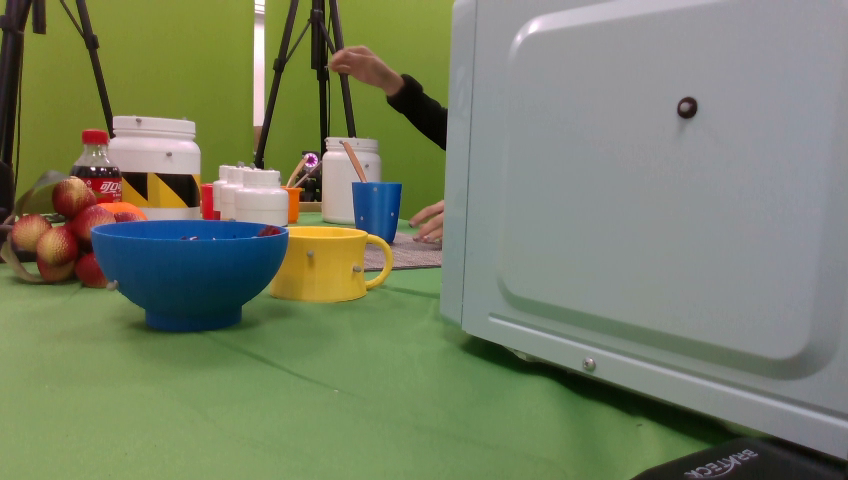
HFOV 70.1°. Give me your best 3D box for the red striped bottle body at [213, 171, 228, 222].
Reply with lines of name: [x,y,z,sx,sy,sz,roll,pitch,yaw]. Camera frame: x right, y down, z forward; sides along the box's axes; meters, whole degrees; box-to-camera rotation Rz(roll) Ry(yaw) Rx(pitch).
red striped bottle body: [-0.284,-0.048,0.909,0.063,0.119,0.063,3,12,0]

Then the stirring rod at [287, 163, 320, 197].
stirring rod: [-0.283,-0.107,1.298,0.014,0.006,0.176,10,53,50]

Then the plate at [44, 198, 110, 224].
plate: [-0.617,-0.056,1.179,0.209,0.038,0.209,3,7,0]

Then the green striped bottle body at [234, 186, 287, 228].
green striped bottle body: [-0.200,-0.023,0.743,0.063,0.119,0.063,2,7,0]

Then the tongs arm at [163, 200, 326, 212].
tongs arm: [-0.432,-0.084,1.490,0.389,0.027,0.028,-1,1,-27]

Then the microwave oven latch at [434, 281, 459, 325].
microwave oven latch: [0.044,0.045,0.470,0.079,0.029,0.030,-2,8,-39]

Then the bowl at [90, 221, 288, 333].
bowl: [-0.190,0.029,0.500,0.151,0.077,0.151,3,7,0]

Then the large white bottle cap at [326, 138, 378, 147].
large white bottle cap: [-0.158,-0.214,1.329,0.115,0.018,0.115,2,8,0]

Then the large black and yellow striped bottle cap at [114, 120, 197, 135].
large black and yellow striped bottle cap: [-0.407,-0.171,0.920,0.115,0.019,0.115,2,9,0]

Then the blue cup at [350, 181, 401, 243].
blue cup: [-0.080,-0.047,1.011,0.093,0.100,0.092,-1,7,0]

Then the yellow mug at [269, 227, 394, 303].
yellow mug: [-0.094,0.023,0.629,0.131,0.064,0.099,0,7,-22]

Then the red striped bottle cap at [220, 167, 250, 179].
red striped bottle cap: [-0.281,-0.100,0.901,0.044,0.017,0.044,-1,5,0]

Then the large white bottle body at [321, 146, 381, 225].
large white bottle body: [-0.162,-0.131,1.340,0.131,0.184,0.130,2,8,0]

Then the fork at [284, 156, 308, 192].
fork: [-0.295,-0.116,1.323,0.028,0.019,0.207,1,50,21]

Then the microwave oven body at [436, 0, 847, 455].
microwave oven body: [0.279,-0.040,0.465,0.444,0.260,0.324,-3,9,-41]

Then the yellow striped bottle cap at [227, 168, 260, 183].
yellow striped bottle cap: [-0.243,-0.087,0.818,0.044,0.018,0.044,3,6,0]

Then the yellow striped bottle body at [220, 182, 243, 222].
yellow striped bottle body: [-0.245,-0.036,0.825,0.063,0.120,0.063,3,8,0]

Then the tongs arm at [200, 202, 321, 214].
tongs arm: [-0.380,-0.076,1.420,0.387,0.026,0.050,-4,5,-42]

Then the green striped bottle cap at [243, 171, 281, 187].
green striped bottle cap: [-0.198,-0.074,0.736,0.044,0.020,0.044,1,7,0]

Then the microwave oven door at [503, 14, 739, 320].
microwave oven door: [0.218,-0.065,0.600,0.358,0.243,0.039,-4,10,-41]

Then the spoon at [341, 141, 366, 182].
spoon: [-0.103,-0.088,1.031,0.042,0.193,0.021,-9,-17,-38]

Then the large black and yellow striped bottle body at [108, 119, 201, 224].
large black and yellow striped bottle body: [-0.412,-0.088,0.930,0.131,0.184,0.130,3,7,0]
